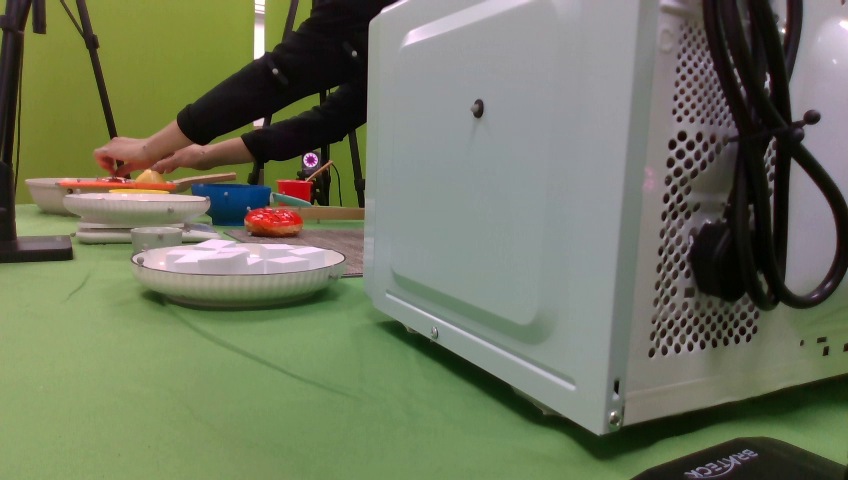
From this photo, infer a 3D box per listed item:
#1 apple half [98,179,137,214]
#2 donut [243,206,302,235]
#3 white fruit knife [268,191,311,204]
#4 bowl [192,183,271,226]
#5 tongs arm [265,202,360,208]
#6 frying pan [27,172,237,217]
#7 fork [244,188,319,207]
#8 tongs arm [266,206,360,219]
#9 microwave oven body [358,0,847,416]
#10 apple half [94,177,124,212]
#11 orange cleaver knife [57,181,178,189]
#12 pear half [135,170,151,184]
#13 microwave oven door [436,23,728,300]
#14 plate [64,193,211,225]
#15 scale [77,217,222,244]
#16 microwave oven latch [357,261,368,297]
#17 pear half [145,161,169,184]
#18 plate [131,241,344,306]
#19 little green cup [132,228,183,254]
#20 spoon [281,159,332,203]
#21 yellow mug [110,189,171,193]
[{"bbox_3d":[-0.636,-0.091,1.270,0.053,0.074,0.081,4,-3,9],"label":"apple half"},{"bbox_3d":[-0.261,-0.032,1.043,0.099,0.048,0.099,3,9,0],"label":"donut"},{"bbox_3d":[-0.364,-0.105,1.464,0.208,0.027,0.016,15,0,-34],"label":"white fruit knife"},{"bbox_3d":[-0.382,-0.070,1.203,0.151,0.077,0.151,3,7,0],"label":"bowl"},{"bbox_3d":[-0.210,-0.071,1.440,0.389,0.027,0.028,2,1,-17],"label":"tongs arm"},{"bbox_3d":[-0.624,-0.119,1.387,0.305,0.102,0.490,8,17,32],"label":"frying pan"},{"bbox_3d":[-0.356,-0.105,1.526,0.208,0.018,0.028,16,-4,-41],"label":"fork"},{"bbox_3d":[-0.173,-0.061,1.363,0.387,0.026,0.050,-1,5,-31],"label":"tongs arm"},{"bbox_3d":[0.211,-0.047,0.475,0.444,0.260,0.324,-1,7,-28],"label":"microwave oven body"},{"bbox_3d":[-0.672,-0.097,1.275,0.033,0.081,0.081,9,9,11],"label":"apple half"},{"bbox_3d":[-0.600,-0.109,1.189,0.212,0.012,0.077,-1,11,-26],"label":"orange cleaver knife"},{"bbox_3d":[-0.630,-0.116,1.347,0.031,0.088,0.070,12,14,-11],"label":"pear half"},{"bbox_3d":[0.180,-0.073,0.621,0.358,0.243,0.039,-2,9,-29],"label":"microwave oven door"},{"bbox_3d":[-0.446,-0.051,0.952,0.209,0.038,0.209,2,7,0],"label":"plate"},{"bbox_3d":[-0.434,-0.018,0.963,0.202,0.031,0.148,-1,8,-27],"label":"scale"},{"bbox_3d":[-0.019,0.033,0.531,0.079,0.029,0.030,-1,7,-27],"label":"microwave oven latch"},{"bbox_3d":[-0.591,-0.120,1.351,0.056,0.109,0.076,10,17,-13],"label":"pear half"},{"bbox_3d":[-0.187,0.033,0.625,0.208,0.039,0.207,2,8,0],"label":"plate"},{"bbox_3d":[-0.342,0.006,0.779,0.061,0.038,0.061,2,8,0],"label":"little green cup"},{"bbox_3d":[-0.316,-0.158,1.640,0.194,0.022,0.041,-50,31,-20],"label":"spoon"},{"bbox_3d":[-0.519,-0.055,1.081,0.099,0.064,0.131,6,9,26],"label":"yellow mug"}]
